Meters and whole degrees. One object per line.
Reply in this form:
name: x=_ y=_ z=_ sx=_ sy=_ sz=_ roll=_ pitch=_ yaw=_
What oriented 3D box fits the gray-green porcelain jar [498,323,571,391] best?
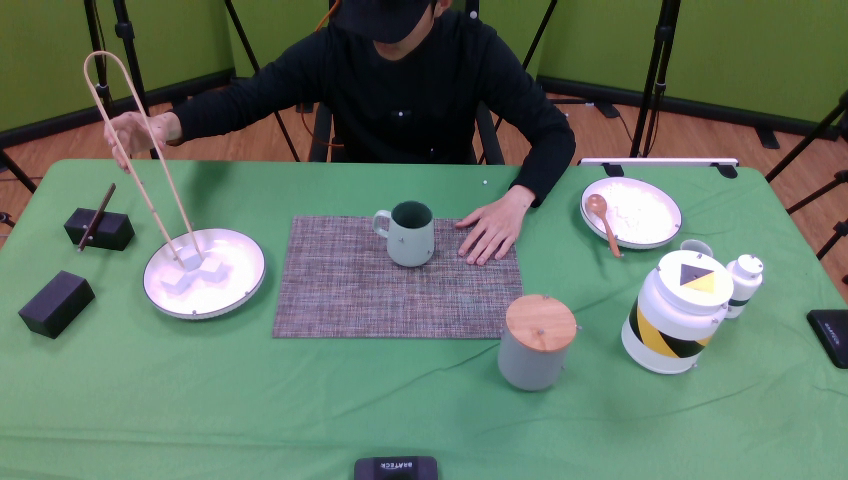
gray-green porcelain jar: x=0.176 y=0.172 z=0.971 sx=0.106 sy=0.127 sz=0.105 roll=2 pitch=46 yaw=-2

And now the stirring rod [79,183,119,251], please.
stirring rod: x=-0.605 y=-0.046 z=1.131 sx=0.006 sy=0.014 sz=0.175 roll=-1 pitch=46 yaw=2

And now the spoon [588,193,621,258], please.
spoon: x=0.367 y=-0.032 z=1.220 sx=0.041 sy=0.022 sz=0.192 roll=2 pitch=38 yaw=-1

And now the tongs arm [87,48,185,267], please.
tongs arm: x=-0.482 y=-0.130 z=1.042 sx=0.051 sy=0.386 sz=0.026 roll=-29 pitch=25 yaw=-21

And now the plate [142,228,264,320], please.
plate: x=-0.394 y=0.064 z=1.095 sx=0.208 sy=0.039 sz=0.206 roll=2 pitch=46 yaw=-2

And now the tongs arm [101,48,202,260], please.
tongs arm: x=-0.462 y=-0.139 z=1.052 sx=0.028 sy=0.389 sz=0.027 roll=-23 pitch=23 yaw=-20

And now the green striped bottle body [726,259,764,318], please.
green striped bottle body: x=0.563 y=0.081 z=1.089 sx=0.063 sy=0.120 sz=0.063 roll=2 pitch=46 yaw=-2

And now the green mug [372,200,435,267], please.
green mug: x=-0.040 y=-0.016 z=1.146 sx=0.125 sy=0.105 sz=0.092 roll=17 pitch=48 yaw=13

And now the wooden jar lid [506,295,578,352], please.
wooden jar lid: x=0.179 y=0.130 z=0.925 sx=0.108 sy=0.021 sz=0.107 roll=2 pitch=43 yaw=-2

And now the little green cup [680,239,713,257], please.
little green cup: x=0.530 y=0.033 z=1.189 sx=0.061 sy=0.039 sz=0.061 roll=2 pitch=48 yaw=-2

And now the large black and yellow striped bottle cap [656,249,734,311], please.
large black and yellow striped bottle cap: x=0.419 y=0.061 z=0.938 sx=0.115 sy=0.019 sz=0.114 roll=2 pitch=47 yaw=-2

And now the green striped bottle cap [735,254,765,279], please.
green striped bottle cap: x=0.566 y=0.046 z=1.051 sx=0.044 sy=0.020 sz=0.044 roll=0 pitch=45 yaw=0

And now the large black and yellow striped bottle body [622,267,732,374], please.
large black and yellow striped bottle body: x=0.415 y=0.119 z=0.997 sx=0.131 sy=0.185 sz=0.130 roll=2 pitch=46 yaw=-2

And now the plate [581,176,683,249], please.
plate: x=0.430 y=-0.054 z=1.267 sx=0.209 sy=0.038 sz=0.208 roll=2 pitch=46 yaw=-2
